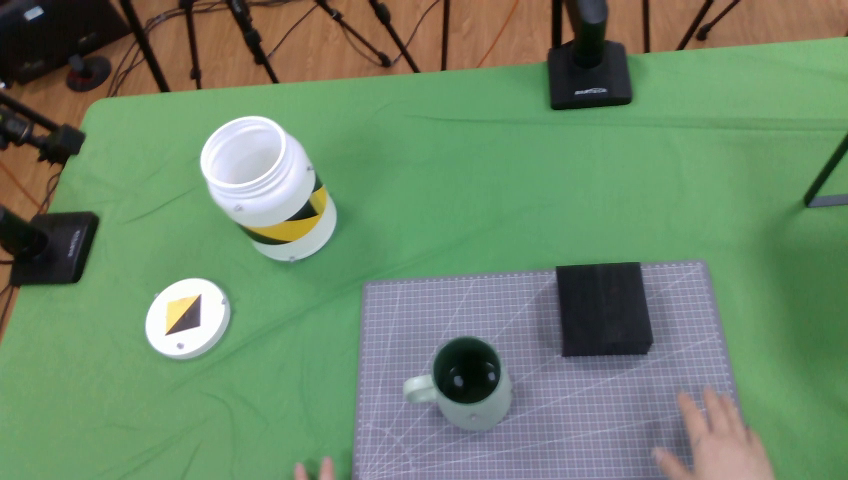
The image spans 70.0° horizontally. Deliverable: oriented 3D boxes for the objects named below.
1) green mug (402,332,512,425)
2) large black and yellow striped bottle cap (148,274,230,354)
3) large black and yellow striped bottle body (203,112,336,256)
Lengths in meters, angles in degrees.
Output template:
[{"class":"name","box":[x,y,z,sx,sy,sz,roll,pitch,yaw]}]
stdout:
[{"class":"green mug","box":[0.037,0.162,0.696,0.125,0.106,0.091,-12,61,4]},{"class":"large black and yellow striped bottle cap","box":[-0.328,0.101,0.844,0.115,0.019,0.114,-4,61,8]},{"class":"large black and yellow striped bottle body","box":[-0.205,-0.073,0.817,0.130,0.185,0.129,-4,62,8]}]
